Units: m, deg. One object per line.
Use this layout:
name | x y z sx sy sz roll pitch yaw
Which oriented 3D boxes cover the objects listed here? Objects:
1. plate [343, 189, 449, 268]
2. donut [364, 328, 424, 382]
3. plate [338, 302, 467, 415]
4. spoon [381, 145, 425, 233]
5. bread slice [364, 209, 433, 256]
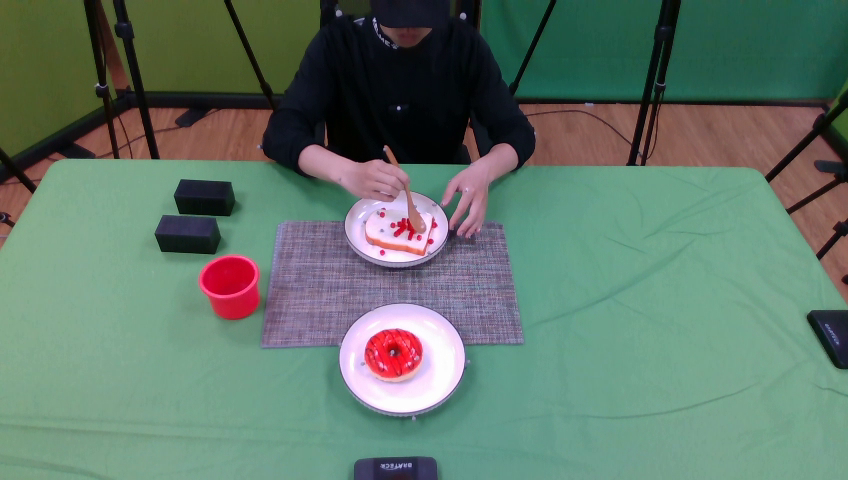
plate | -0.055 -0.019 1.195 0.209 0.038 0.208 3 46 -2
donut | -0.049 0.185 0.984 0.099 0.048 0.098 1 45 -1
plate | -0.035 0.194 0.992 0.208 0.039 0.206 2 48 -2
spoon | -0.038 -0.095 1.142 0.021 0.195 0.041 -5 33 25
bread slice | -0.054 -0.020 1.199 0.131 0.019 0.104 11 46 3
